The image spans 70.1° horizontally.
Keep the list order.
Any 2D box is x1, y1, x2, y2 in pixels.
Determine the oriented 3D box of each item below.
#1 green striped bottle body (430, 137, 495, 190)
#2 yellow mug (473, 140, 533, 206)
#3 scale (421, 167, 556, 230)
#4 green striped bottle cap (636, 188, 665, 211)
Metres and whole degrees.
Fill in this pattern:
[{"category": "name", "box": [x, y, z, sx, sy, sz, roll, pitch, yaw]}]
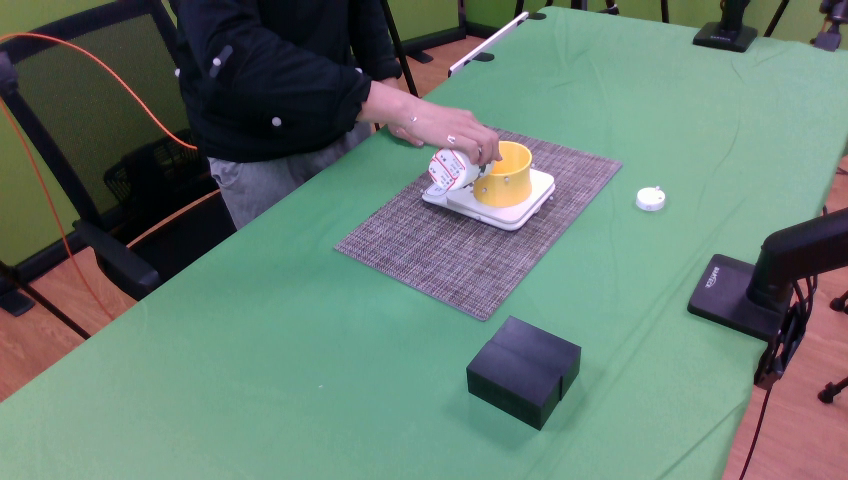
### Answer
[{"category": "green striped bottle body", "box": [0.064, -0.118, 0.906, 0.063, 0.063, 0.120, 18, 27, 27]}, {"category": "yellow mug", "box": [0.125, -0.121, 1.004, 0.100, 0.064, 0.130, -13, 41, -5]}, {"category": "scale", "box": [0.110, -0.089, 1.042, 0.199, 0.032, 0.149, 23, 48, 31]}, {"category": "green striped bottle cap", "box": [0.374, -0.067, 0.998, 0.044, 0.020, 0.044, -6, 39, 5]}]
